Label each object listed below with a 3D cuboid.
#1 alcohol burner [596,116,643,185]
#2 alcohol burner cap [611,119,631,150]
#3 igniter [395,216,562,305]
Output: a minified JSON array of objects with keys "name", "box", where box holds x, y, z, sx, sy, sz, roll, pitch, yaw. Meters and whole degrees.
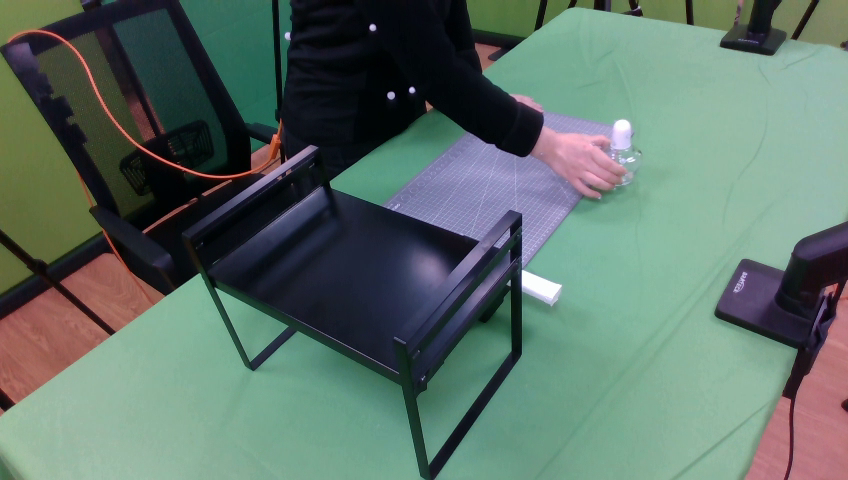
[{"name":"alcohol burner","box":[0.330,-0.154,1.017,0.078,0.119,0.077,-5,40,5]},{"name":"alcohol burner cap","box":[0.325,-0.175,0.996,0.034,0.048,0.033,-7,39,6]},{"name":"igniter","box":[0.066,0.024,0.864,0.274,0.025,0.057,24,48,28]}]
